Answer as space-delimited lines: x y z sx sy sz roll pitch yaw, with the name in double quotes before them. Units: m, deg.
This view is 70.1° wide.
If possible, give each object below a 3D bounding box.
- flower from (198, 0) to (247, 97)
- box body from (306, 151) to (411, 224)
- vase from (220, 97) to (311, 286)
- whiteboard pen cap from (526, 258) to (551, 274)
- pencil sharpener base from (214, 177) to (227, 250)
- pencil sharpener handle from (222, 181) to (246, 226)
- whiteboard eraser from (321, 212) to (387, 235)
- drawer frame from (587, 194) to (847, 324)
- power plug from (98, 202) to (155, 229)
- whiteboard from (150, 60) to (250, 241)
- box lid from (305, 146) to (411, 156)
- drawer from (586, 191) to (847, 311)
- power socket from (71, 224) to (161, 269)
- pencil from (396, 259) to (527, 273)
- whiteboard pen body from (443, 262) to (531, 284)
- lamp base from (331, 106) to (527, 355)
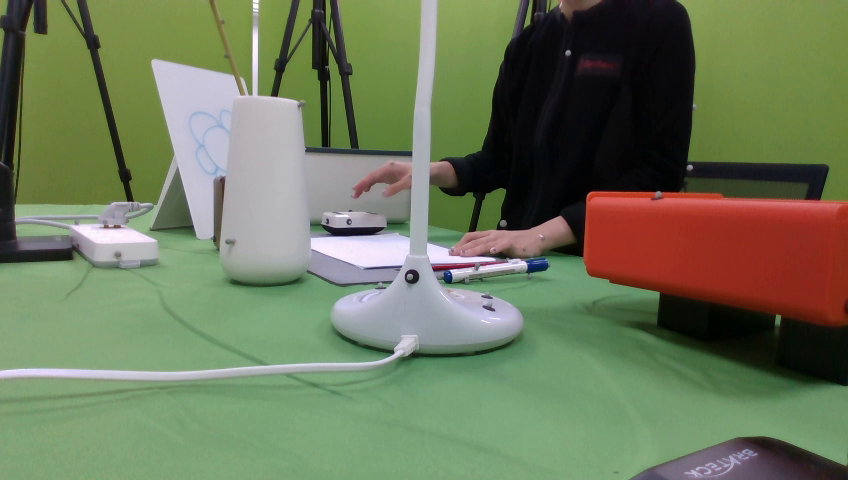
"flower" -0.187 -0.133 0.648 0.038 0.362 0.044 -1 22 43
"box body" -0.230 -0.126 1.371 0.366 0.160 0.253 -2 8 -33
"vase" -0.172 -0.052 0.662 0.098 0.200 0.098 3 9 0
"whiteboard pen cap" 0.141 0.033 0.759 0.033 0.018 0.018 -7 11 -26
"pencil sharpener base" -0.265 -0.036 0.870 0.061 0.107 0.076 -2 8 -29
"pencil sharpener handle" -0.289 -0.055 0.912 0.036 0.067 0.030 -3 9 -29
"whiteboard eraser" -0.128 -0.031 1.108 0.113 0.042 0.055 -3 7 -38
"drawer frame" 0.285 0.004 0.508 0.203 0.082 0.212 -1 6 -30
"power plug" -0.416 -0.027 0.848 0.073 0.052 0.035 0 8 -28
"whiteboard" -0.408 -0.139 1.093 0.143 0.305 0.218 -15 -1 26
"box lid" -0.229 -0.200 1.360 0.373 0.015 0.262 -3 9 -33
"drawer" 0.281 0.000 0.513 0.195 0.073 0.210 -1 7 -29
"power socket" -0.408 0.004 0.793 0.072 0.032 0.225 -2 8 -38
"pencil" 0.053 0.035 0.783 0.195 0.012 0.012 -3 9 -26
"whiteboard pen body" 0.087 0.038 0.733 0.141 0.017 0.017 -5 10 -27
"lamp base" 0.006 -0.012 0.478 0.161 0.180 0.179 2 10 2
